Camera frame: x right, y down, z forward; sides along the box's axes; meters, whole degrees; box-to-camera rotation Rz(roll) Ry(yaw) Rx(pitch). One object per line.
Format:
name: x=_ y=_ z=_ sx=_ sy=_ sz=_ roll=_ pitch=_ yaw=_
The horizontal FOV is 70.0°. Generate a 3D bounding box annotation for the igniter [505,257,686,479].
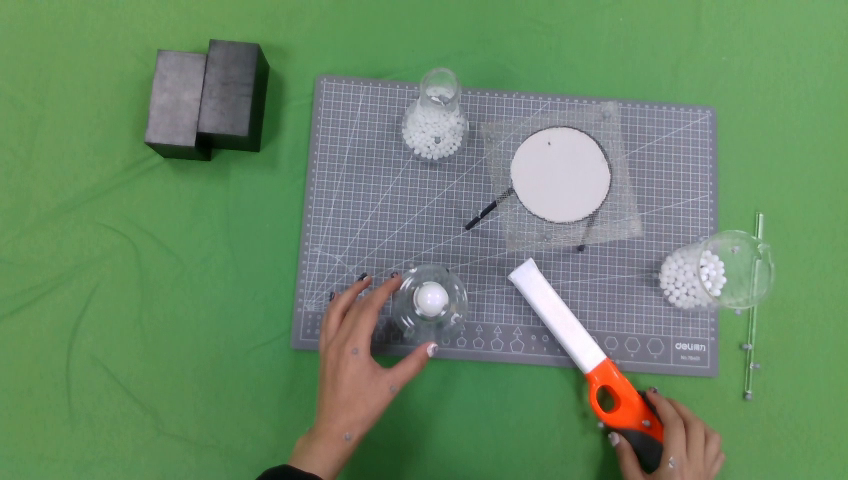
igniter: x=0.179 y=0.136 z=0.625 sx=0.057 sy=0.025 sz=0.276 roll=-36 pitch=86 yaw=-13

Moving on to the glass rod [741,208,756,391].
glass rod: x=0.353 y=0.062 z=0.656 sx=0.008 sy=0.008 sz=0.199 roll=8 pitch=81 yaw=-2

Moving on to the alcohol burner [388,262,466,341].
alcohol burner: x=0.003 y=0.058 z=0.584 sx=0.078 sy=0.119 sz=0.077 roll=0 pitch=80 yaw=0

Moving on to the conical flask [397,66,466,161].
conical flask: x=0.010 y=-0.131 z=0.607 sx=0.075 sy=0.122 sz=0.075 roll=0 pitch=81 yaw=-2

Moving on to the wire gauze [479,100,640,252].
wire gauze: x=0.118 y=-0.056 z=0.528 sx=0.125 sy=0.011 sz=0.121 roll=-8 pitch=82 yaw=-3

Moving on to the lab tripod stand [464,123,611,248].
lab tripod stand: x=0.114 y=-0.047 z=0.595 sx=0.148 sy=0.132 sz=0.148 roll=0 pitch=83 yaw=-2

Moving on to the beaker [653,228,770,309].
beaker: x=0.284 y=0.031 z=0.609 sx=0.084 sy=0.100 sz=0.074 roll=-33 pitch=84 yaw=-8

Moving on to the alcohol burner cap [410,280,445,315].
alcohol burner cap: x=0.005 y=0.051 z=0.548 sx=0.034 sy=0.048 sz=0.034 roll=0 pitch=85 yaw=-5
